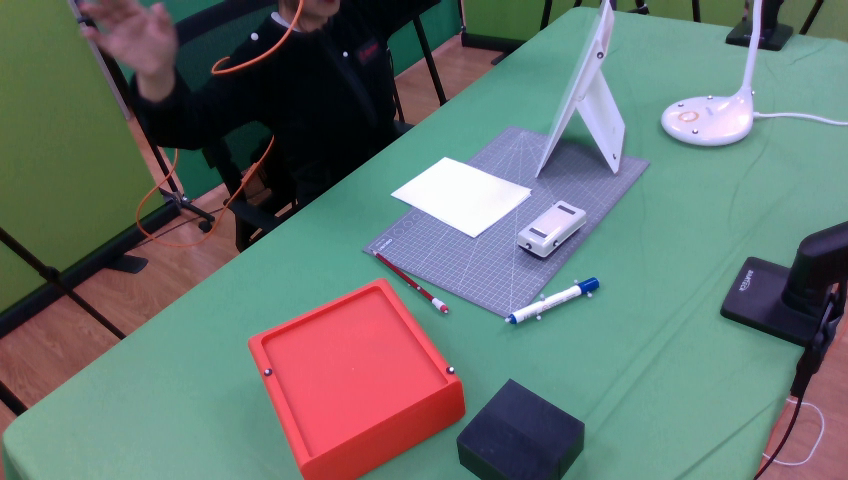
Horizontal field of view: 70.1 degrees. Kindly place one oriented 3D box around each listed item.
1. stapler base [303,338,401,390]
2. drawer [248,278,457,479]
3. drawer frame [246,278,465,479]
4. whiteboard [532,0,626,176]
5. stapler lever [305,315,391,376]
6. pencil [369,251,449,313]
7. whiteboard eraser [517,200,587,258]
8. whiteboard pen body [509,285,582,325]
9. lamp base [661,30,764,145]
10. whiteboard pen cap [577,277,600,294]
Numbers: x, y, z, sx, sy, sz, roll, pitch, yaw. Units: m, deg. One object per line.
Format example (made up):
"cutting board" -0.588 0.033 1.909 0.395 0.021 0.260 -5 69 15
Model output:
"stapler base" -0.096 0.160 0.813 0.131 0.024 0.041 -16 42 -18
"drawer" -0.092 0.167 0.756 0.195 0.073 0.210 -23 43 -18
"drawer frame" -0.088 0.168 0.752 0.202 0.083 0.211 -24 43 -18
"whiteboard" 0.321 -0.258 1.049 0.144 0.306 0.217 21 45 5
"stapler lever" -0.100 0.136 0.790 0.118 0.040 0.026 -23 43 -12
"pencil" -0.028 0.060 0.924 0.012 0.012 0.192 -33 46 -25
"whiteboard eraser" 0.201 -0.016 0.943 0.113 0.042 0.055 -37 46 -29
"whiteboard pen body" 0.181 0.086 0.845 0.141 0.017 0.017 -21 42 -17
"lamp base" 0.535 -0.287 1.096 0.179 0.181 0.159 -10 40 -4
"whiteboard pen cap" 0.233 0.066 0.864 0.033 0.018 0.018 -20 41 -17
